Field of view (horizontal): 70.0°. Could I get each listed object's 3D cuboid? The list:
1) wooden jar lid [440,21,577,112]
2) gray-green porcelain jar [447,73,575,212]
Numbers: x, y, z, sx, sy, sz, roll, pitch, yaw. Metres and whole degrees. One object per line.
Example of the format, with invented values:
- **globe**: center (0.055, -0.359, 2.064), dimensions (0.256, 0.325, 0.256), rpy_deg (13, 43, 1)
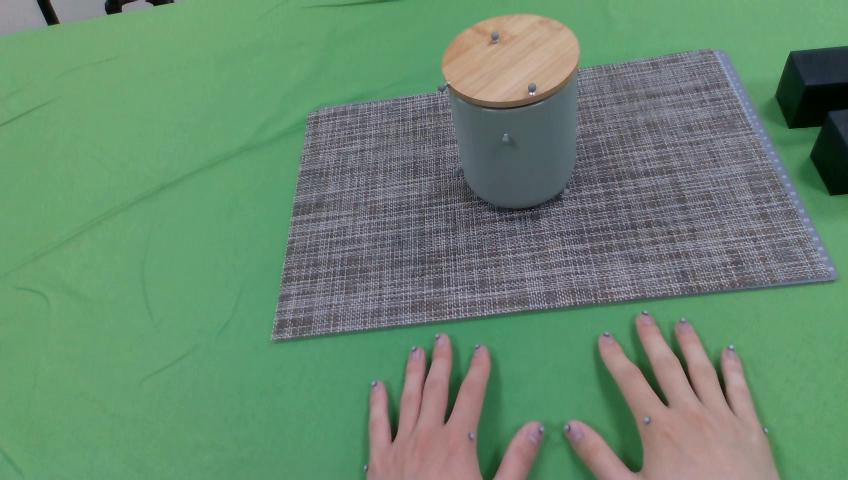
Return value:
- **wooden jar lid**: center (0.067, -0.136, 0.485), dimensions (0.108, 0.021, 0.107), rpy_deg (-6, 54, 8)
- **gray-green porcelain jar**: center (0.079, -0.096, 0.534), dimensions (0.106, 0.128, 0.105), rpy_deg (-6, 50, 8)
